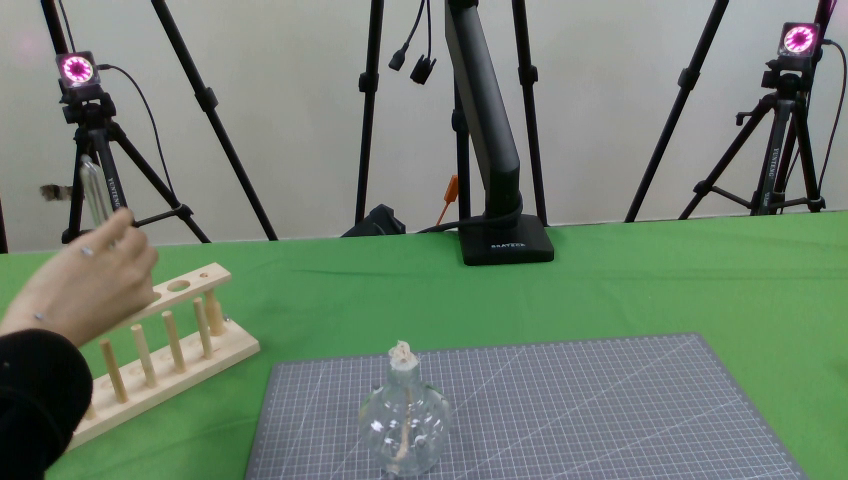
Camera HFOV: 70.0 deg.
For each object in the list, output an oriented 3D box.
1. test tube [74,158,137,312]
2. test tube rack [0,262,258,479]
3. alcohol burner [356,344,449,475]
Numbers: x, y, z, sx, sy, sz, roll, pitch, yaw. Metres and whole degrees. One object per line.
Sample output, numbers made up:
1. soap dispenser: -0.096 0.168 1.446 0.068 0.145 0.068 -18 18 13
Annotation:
1. test tube: -0.261 0.001 0.500 0.017 0.151 0.017 3 36 -2
2. test tube rack: -0.287 0.112 0.575 0.243 0.086 0.066 -26 37 -37
3. alcohol burner: -0.018 0.130 0.489 0.078 0.120 0.077 0 30 1
